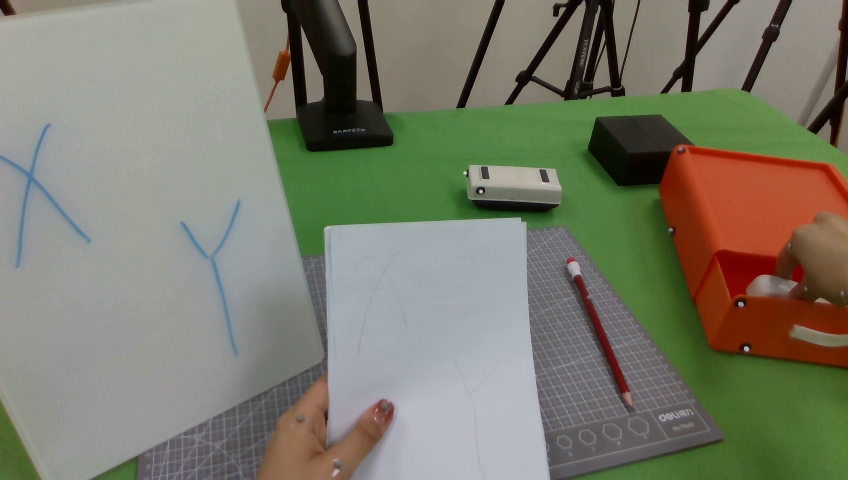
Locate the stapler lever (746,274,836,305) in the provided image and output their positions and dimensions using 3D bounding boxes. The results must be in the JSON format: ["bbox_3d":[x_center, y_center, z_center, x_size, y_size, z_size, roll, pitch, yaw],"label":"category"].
[{"bbox_3d":[0.361,0.063,0.573,0.118,0.040,0.026,15,49,-6],"label":"stapler lever"}]

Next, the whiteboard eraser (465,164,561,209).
[{"bbox_3d":[0.108,-0.064,0.740,0.113,0.042,0.055,3,39,-3],"label":"whiteboard eraser"}]

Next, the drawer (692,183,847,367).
[{"bbox_3d":[0.376,0.028,0.626,0.194,0.074,0.210,7,38,3],"label":"drawer"}]

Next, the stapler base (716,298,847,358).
[{"bbox_3d":[0.353,0.080,0.592,0.131,0.024,0.041,14,49,-5],"label":"stapler base"}]

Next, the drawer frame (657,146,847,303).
[{"bbox_3d":[0.384,-0.011,0.673,0.201,0.083,0.212,7,37,3],"label":"drawer frame"}]

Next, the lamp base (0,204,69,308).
[{"bbox_3d":[-0.434,-0.046,0.533,0.178,0.182,0.160,18,40,19],"label":"lamp base"}]

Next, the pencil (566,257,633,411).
[{"bbox_3d":[0.166,0.082,0.581,0.012,0.012,0.192,0,40,-7],"label":"pencil"}]

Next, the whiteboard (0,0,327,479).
[{"bbox_3d":[-0.230,-0.012,0.461,0.217,0.307,0.142,-23,27,-30],"label":"whiteboard"}]
